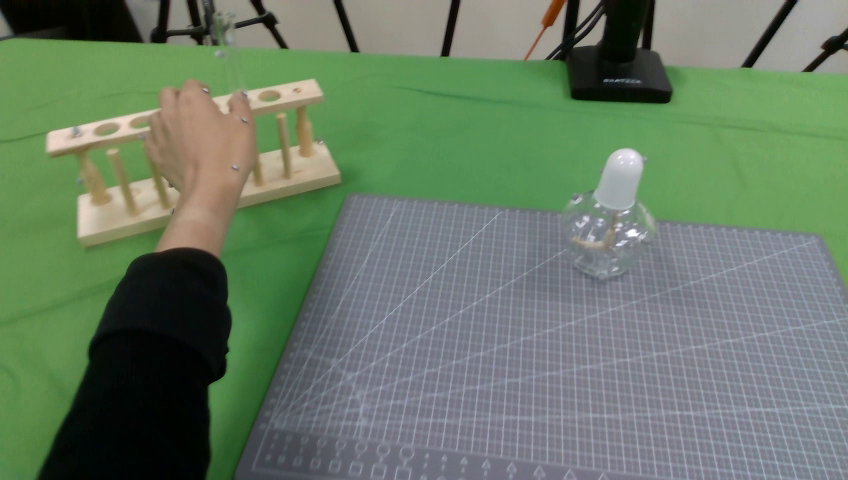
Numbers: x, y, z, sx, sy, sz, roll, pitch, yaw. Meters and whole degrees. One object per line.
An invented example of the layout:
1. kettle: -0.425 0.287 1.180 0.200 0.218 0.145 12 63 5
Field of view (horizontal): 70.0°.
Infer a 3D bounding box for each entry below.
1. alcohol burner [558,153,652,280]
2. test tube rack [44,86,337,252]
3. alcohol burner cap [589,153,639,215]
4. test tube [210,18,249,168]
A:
1. alcohol burner: 0.153 -0.024 0.502 0.078 0.120 0.077 1 44 -1
2. test tube rack: -0.213 -0.072 0.580 0.243 0.086 0.066 -16 45 -17
3. alcohol burner cap: 0.153 -0.047 0.481 0.034 0.048 0.033 2 42 -2
4. test tube: -0.179 -0.133 0.572 0.017 0.151 0.017 1 40 0
